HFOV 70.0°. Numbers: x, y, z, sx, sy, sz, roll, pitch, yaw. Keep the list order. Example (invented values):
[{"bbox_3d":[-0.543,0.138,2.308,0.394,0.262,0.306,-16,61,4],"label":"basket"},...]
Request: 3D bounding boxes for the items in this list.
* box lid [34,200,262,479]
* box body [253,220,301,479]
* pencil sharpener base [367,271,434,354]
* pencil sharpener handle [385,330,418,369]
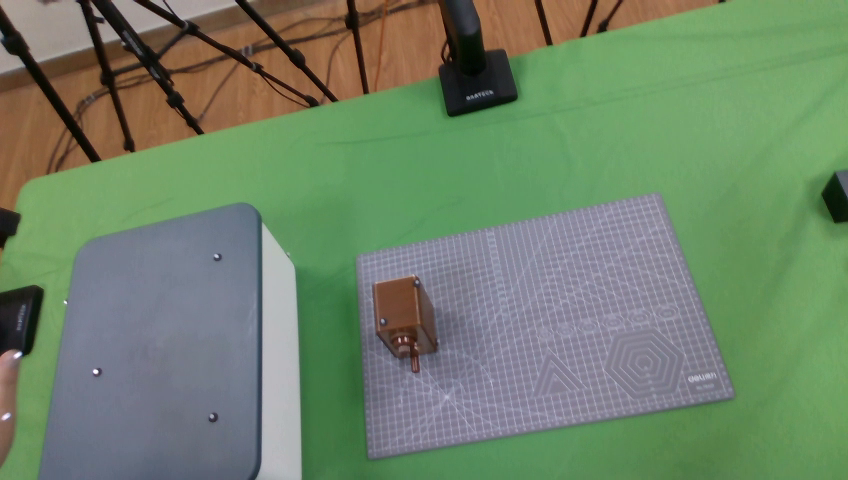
[{"bbox_3d":[-0.321,0.126,0.723,0.263,0.015,0.368,-13,60,5],"label":"box lid"},{"bbox_3d":[-0.306,0.163,0.786,0.254,0.162,0.360,-14,60,5],"label":"box body"},{"bbox_3d":[-0.028,0.099,0.784,0.061,0.108,0.076,-12,61,6],"label":"pencil sharpener base"},{"bbox_3d":[-0.023,0.137,0.749,0.036,0.068,0.030,-16,60,14],"label":"pencil sharpener handle"}]
